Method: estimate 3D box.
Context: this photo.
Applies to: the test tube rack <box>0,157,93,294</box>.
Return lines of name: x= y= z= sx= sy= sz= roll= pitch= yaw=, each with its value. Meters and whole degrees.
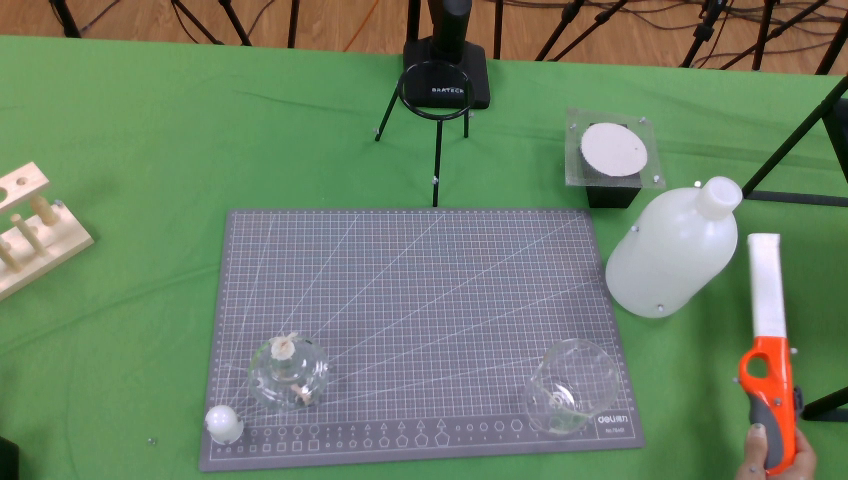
test tube rack: x=-0.479 y=0.024 z=0.610 sx=0.242 sy=0.086 sz=0.066 roll=-39 pitch=72 yaw=-24

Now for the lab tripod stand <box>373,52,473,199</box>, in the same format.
lab tripod stand: x=0.007 y=-0.145 z=0.738 sx=0.149 sy=0.132 sz=0.147 roll=4 pitch=61 yaw=-7

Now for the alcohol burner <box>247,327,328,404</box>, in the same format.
alcohol burner: x=-0.132 y=0.115 z=0.582 sx=0.078 sy=0.120 sz=0.077 roll=4 pitch=59 yaw=-7

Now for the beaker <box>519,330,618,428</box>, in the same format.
beaker: x=0.137 y=0.144 z=0.607 sx=0.084 sy=0.101 sz=0.073 roll=-3 pitch=60 yaw=-8

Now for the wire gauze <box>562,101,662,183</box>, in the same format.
wire gauze: x=0.234 y=-0.124 z=0.769 sx=0.121 sy=0.011 sz=0.124 roll=6 pitch=60 yaw=-3

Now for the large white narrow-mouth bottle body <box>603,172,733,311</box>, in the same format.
large white narrow-mouth bottle body: x=0.270 y=-0.004 z=0.655 sx=0.102 sy=0.196 sz=0.101 roll=3 pitch=60 yaw=-4

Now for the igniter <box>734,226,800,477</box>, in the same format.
igniter: x=0.353 y=0.105 z=0.629 sx=0.057 sy=0.025 sz=0.274 roll=2 pitch=59 yaw=21

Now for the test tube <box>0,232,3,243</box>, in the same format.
test tube: x=-0.451 y=-0.038 z=0.591 sx=0.017 sy=0.151 sz=0.017 roll=4 pitch=57 yaw=-6

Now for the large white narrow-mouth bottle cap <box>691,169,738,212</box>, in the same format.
large white narrow-mouth bottle cap: x=0.277 y=-0.048 z=0.581 sx=0.038 sy=0.024 sz=0.037 roll=3 pitch=60 yaw=-5

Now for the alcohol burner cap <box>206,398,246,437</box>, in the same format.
alcohol burner cap: x=-0.194 y=0.170 z=0.585 sx=0.034 sy=0.048 sz=0.033 roll=2 pitch=62 yaw=-4
